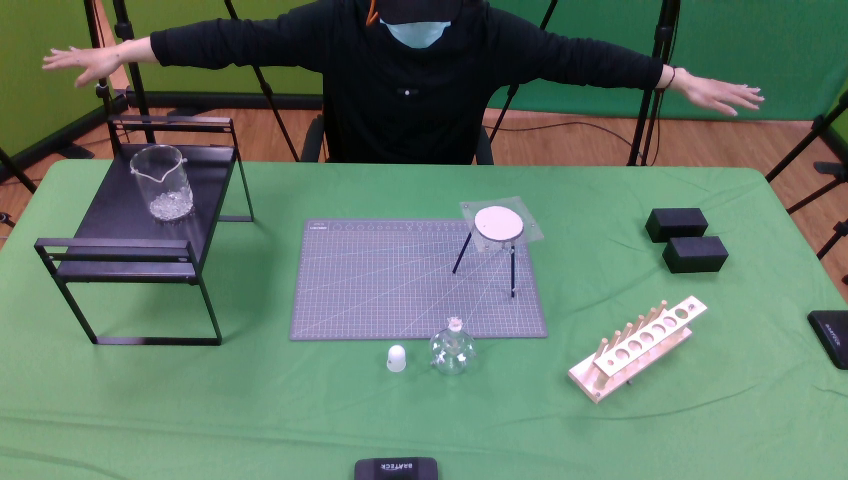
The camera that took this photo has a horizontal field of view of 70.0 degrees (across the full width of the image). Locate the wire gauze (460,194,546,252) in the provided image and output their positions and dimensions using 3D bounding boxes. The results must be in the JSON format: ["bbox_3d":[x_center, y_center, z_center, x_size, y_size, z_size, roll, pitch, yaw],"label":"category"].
[{"bbox_3d":[0.136,-0.035,1.061,0.121,0.011,0.124,-9,46,-12],"label":"wire gauze"}]

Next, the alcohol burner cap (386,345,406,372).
[{"bbox_3d":[-0.046,0.192,0.995,0.034,0.048,0.033,3,46,-3],"label":"alcohol burner cap"}]

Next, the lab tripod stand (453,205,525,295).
[{"bbox_3d":[0.131,0.010,1.111,0.148,0.132,0.147,1,45,-1],"label":"lab tripod stand"}]

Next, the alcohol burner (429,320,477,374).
[{"bbox_3d":[0.048,0.164,0.977,0.078,0.120,0.077,2,48,-2],"label":"alcohol burner"}]

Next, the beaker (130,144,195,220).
[{"bbox_3d":[-0.403,-0.085,0.944,0.074,0.101,0.083,-15,50,-17],"label":"beaker"}]

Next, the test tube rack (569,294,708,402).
[{"bbox_3d":[0.360,0.167,1.014,0.242,0.085,0.066,-25,53,-25],"label":"test tube rack"}]
